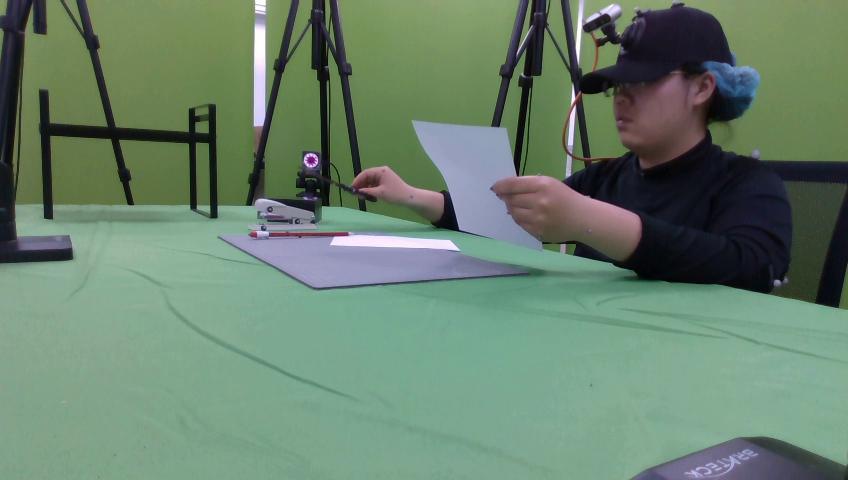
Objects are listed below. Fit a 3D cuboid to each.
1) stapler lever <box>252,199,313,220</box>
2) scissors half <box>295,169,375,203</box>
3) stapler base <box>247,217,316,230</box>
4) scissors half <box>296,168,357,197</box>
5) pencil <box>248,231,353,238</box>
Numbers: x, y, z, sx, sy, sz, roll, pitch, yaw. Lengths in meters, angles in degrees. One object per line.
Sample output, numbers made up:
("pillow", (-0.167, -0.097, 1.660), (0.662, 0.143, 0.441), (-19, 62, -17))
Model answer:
("stapler lever", (-0.273, -0.058, 1.170), (0.119, 0.040, 0.026), (0, 10, -37))
("scissors half", (-0.178, -0.111, 1.227), (0.176, 0.013, 0.040), (21, 4, -20))
("stapler base", (-0.276, -0.033, 1.172), (0.131, 0.024, 0.041), (0, 10, -37))
("scissors half", (-0.186, -0.115, 1.245), (0.176, 0.013, 0.040), (21, -1, -36))
("pencil", (-0.206, -0.009, 1.040), (0.195, 0.012, 0.012), (0, 8, -36))
